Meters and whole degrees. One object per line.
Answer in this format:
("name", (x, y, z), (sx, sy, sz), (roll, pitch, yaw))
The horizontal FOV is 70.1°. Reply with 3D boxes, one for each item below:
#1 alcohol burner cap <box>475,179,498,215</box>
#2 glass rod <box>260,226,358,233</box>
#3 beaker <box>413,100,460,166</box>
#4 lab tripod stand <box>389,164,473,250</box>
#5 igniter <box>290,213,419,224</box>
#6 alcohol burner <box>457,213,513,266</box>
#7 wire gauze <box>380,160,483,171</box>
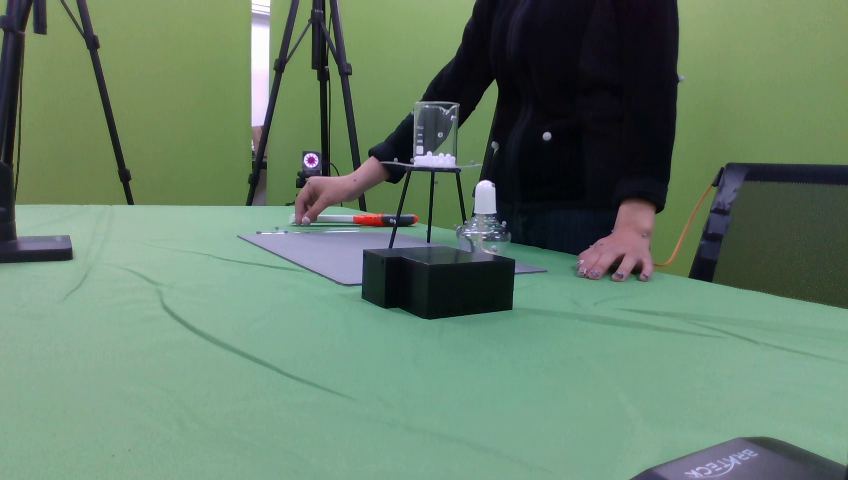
("alcohol burner cap", (0.086, -0.061, 0.833), (0.034, 0.048, 0.034), (-1, 11, 0))
("glass rod", (-0.212, -0.021, 1.137), (0.201, 0.008, 0.008), (-4, 9, -36))
("beaker", (0.020, -0.167, 0.953), (0.073, 0.100, 0.084), (6, 9, 26))
("lab tripod stand", (0.011, -0.054, 0.960), (0.148, 0.131, 0.148), (2, 9, 0))
("igniter", (-0.143, -0.046, 1.288), (0.278, 0.025, 0.057), (-1, -3, -24))
("alcohol burner", (0.084, -0.025, 0.837), (0.078, 0.119, 0.078), (0, 8, 0))
("wire gauze", (0.011, -0.119, 0.951), (0.122, 0.011, 0.124), (-5, 12, -32))
